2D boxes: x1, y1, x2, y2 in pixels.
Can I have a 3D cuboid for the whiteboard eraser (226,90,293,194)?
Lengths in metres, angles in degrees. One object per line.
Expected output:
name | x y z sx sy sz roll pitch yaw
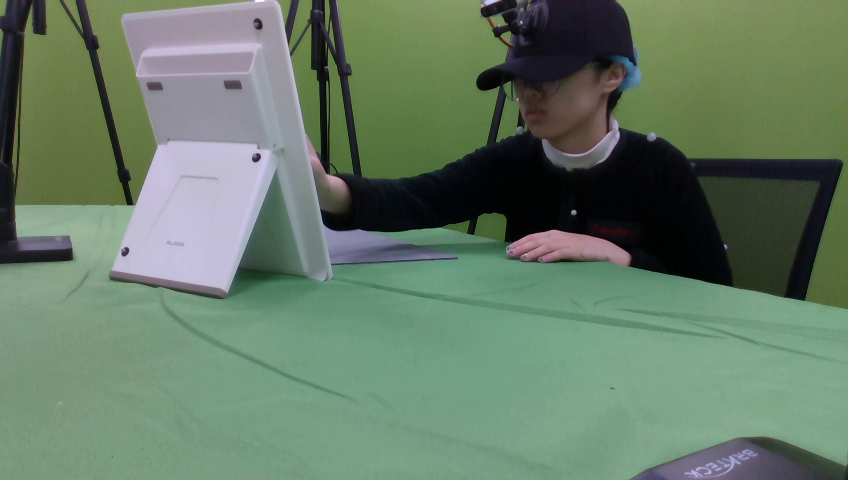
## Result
whiteboard eraser | -0.189 -0.108 0.682 0.055 0.112 0.042 31 38 4

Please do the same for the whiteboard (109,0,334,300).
whiteboard | -0.247 -0.072 0.624 0.216 0.305 0.144 6 28 26
